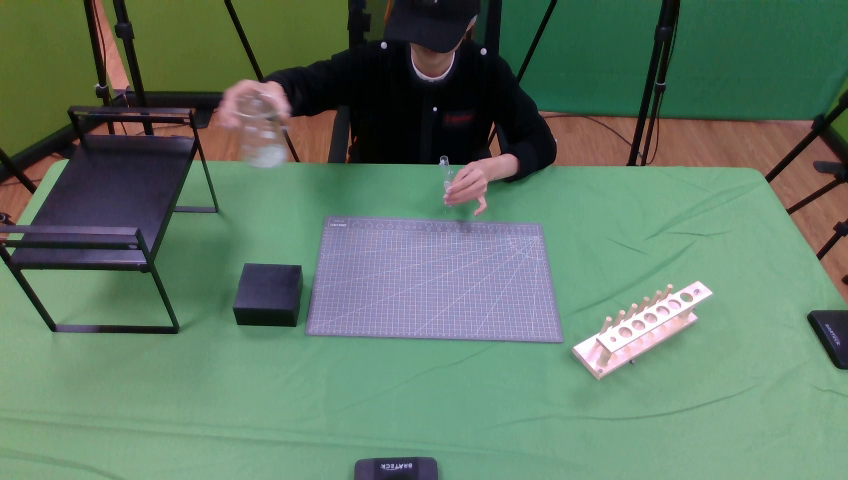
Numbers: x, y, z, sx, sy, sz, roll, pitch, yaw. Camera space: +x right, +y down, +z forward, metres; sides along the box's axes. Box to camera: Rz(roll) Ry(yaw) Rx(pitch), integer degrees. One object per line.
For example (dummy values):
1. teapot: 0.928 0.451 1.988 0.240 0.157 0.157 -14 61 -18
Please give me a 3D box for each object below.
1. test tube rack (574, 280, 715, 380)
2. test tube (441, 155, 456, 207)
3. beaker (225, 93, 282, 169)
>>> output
1. test tube rack: 0.378 0.140 1.038 0.242 0.085 0.066 -23 51 -23
2. test tube: 0.048 -0.112 1.180 0.017 0.151 0.017 -4 56 6
3. beaker: -0.262 -0.170 0.954 0.084 0.101 0.073 -3 41 -8
